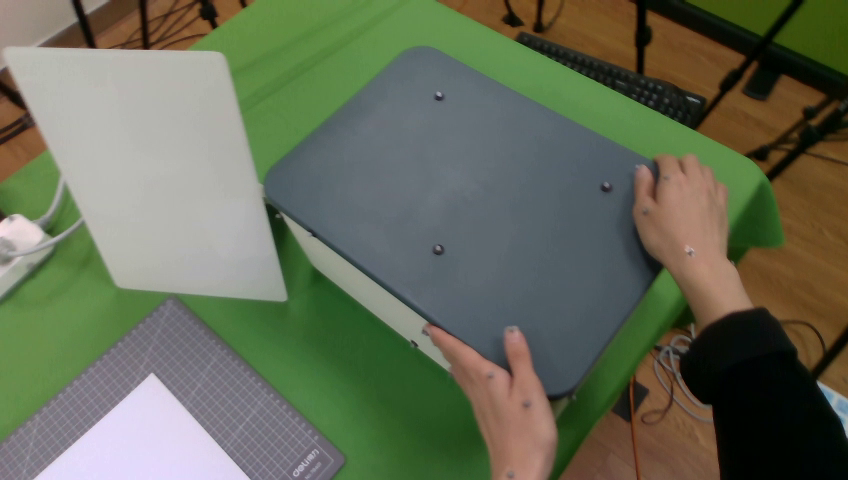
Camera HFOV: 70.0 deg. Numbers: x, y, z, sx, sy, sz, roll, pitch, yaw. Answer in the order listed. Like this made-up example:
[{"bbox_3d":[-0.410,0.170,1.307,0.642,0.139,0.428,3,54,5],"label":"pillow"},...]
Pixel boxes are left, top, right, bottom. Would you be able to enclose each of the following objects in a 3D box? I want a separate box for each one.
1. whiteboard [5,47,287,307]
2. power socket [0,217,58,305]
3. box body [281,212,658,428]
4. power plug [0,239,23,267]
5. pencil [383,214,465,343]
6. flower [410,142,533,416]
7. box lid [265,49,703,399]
[{"bbox_3d":[-0.261,-0.089,0.684,0.217,0.308,0.142,4,40,8],"label":"whiteboard"},{"bbox_3d":[-0.552,0.062,0.738,0.072,0.033,0.226,30,65,20],"label":"power socket"},{"bbox_3d":[0.055,-0.005,0.654,0.361,0.162,0.253,34,66,22],"label":"box body"},{"bbox_3d":[-0.501,0.026,0.729,0.035,0.053,0.072,-42,65,-19],"label":"power plug"},{"bbox_3d":[-0.002,0.042,0.714,0.012,0.012,0.192,-27,63,-11],"label":"pencil"},{"bbox_3d":[0.054,0.031,0.704,0.044,0.038,0.358,-33,60,22],"label":"flower"},{"bbox_3d":[0.048,-0.046,0.591,0.368,0.015,0.263,34,67,22],"label":"box lid"}]
